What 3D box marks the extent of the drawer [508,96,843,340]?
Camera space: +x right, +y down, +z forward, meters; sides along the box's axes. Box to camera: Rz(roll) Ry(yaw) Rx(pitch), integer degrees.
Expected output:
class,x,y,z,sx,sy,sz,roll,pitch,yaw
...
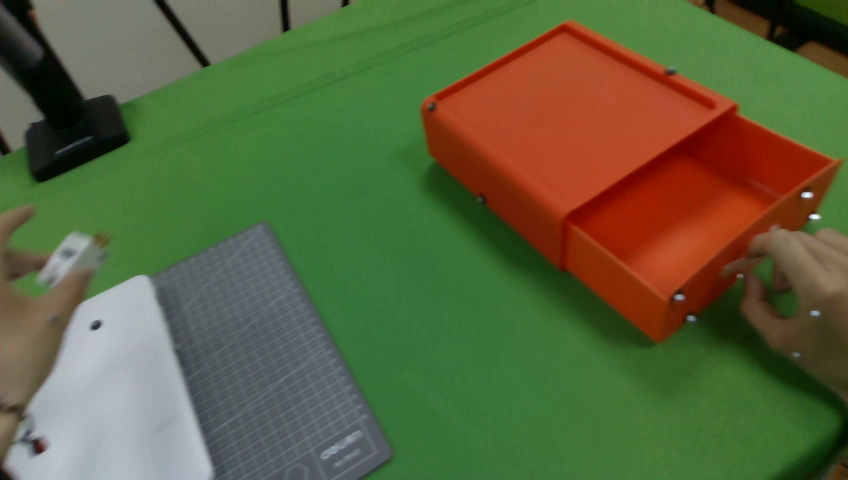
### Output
class,x,y,z,sx,sy,sz,roll,pitch,yaw
drawer,0.193,-0.047,0.522,0.194,0.074,0.209,-34,51,-16

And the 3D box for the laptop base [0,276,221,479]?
class,x,y,z,sx,sy,sz,roll,pitch,yaw
laptop base,-0.351,0.188,0.476,0.354,0.023,0.233,-29,53,-13

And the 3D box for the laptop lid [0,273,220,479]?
class,x,y,z,sx,sy,sz,roll,pitch,yaw
laptop lid,-0.352,0.182,0.465,0.357,0.013,0.239,-27,52,-12

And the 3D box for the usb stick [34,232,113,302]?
class,x,y,z,sx,sy,sz,roll,pitch,yaw
usb stick,-0.263,0.015,0.461,0.021,0.027,0.059,17,60,18

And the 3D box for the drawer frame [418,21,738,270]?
class,x,y,z,sx,sy,sz,roll,pitch,yaw
drawer frame,0.137,-0.101,0.579,0.201,0.083,0.211,-33,50,-16
